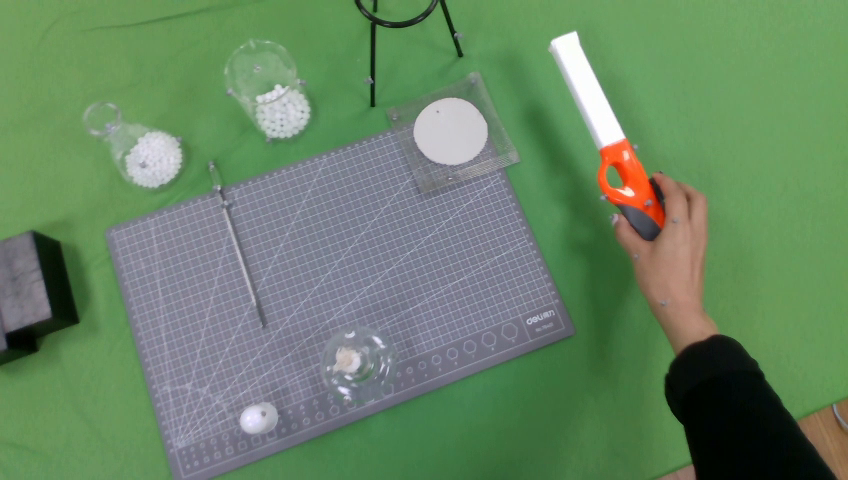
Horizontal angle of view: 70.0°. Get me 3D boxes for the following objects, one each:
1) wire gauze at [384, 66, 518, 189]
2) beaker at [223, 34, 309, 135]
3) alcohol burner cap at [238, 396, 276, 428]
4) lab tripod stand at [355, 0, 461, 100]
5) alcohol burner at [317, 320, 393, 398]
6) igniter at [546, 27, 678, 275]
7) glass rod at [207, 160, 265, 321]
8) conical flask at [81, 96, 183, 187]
[{"bbox_3d":[0.030,-0.132,0.709,0.125,0.011,0.121,-21,78,-5],"label":"wire gauze"},{"bbox_3d":[-0.171,-0.169,0.674,0.074,0.101,0.083,-18,77,-4],"label":"beaker"},{"bbox_3d":[-0.174,0.178,0.622,0.034,0.048,0.033,0,77,0],"label":"alcohol burner cap"},{"bbox_3d":[-0.029,-0.243,0.673,0.148,0.132,0.147,0,79,-1],"label":"lab tripod stand"},{"bbox_3d":[-0.070,0.117,0.599,0.078,0.119,0.077,0,79,0],"label":"alcohol burner"},{"bbox_3d":[0.198,-0.095,0.637,0.057,0.025,0.275,-22,84,-7],"label":"igniter"},{"bbox_3d":[-0.211,-0.002,0.678,0.008,0.008,0.198,-21,78,-5],"label":"glass rod"},{"bbox_3d":[-0.317,-0.110,0.648,0.075,0.122,0.075,0,76,0],"label":"conical flask"}]
